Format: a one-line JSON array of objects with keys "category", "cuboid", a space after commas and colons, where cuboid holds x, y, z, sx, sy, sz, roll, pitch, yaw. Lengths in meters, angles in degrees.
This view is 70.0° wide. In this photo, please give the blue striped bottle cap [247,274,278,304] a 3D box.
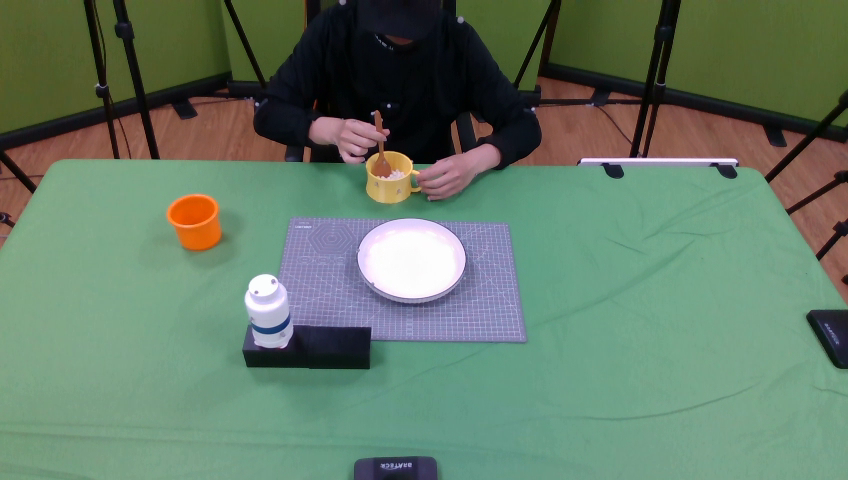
[{"category": "blue striped bottle cap", "cuboid": [-0.239, 0.072, 0.900, 0.044, 0.021, 0.044, 4, 46, -4]}]

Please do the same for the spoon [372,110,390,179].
[{"category": "spoon", "cuboid": [-0.091, -0.191, 1.245, 0.041, 0.194, 0.021, -13, 57, -10]}]

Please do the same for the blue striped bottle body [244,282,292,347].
[{"category": "blue striped bottle body", "cuboid": [-0.241, 0.108, 0.937, 0.063, 0.121, 0.062, 2, 46, -2]}]

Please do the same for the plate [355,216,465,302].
[{"category": "plate", "cuboid": [-0.027, 0.039, 1.144, 0.208, 0.039, 0.206, 2, 46, -2]}]

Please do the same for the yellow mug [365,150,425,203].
[{"category": "yellow mug", "cuboid": [-0.061, -0.133, 1.291, 0.131, 0.064, 0.099, 9, 46, 3]}]
